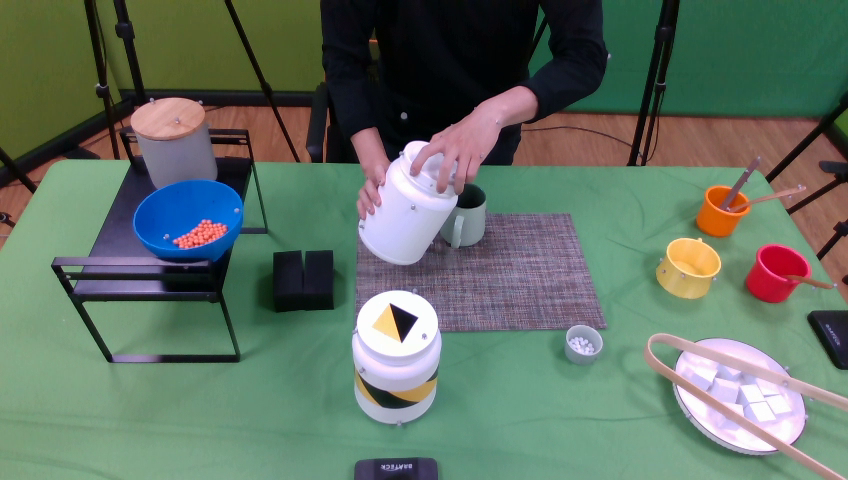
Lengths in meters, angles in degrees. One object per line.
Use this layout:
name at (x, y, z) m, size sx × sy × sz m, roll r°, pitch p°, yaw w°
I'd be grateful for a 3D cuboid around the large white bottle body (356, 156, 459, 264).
large white bottle body at (-0.024, -0.063, 1.044) m, size 0.131 × 0.185 × 0.130 m, roll 22°, pitch 36°, yaw -17°

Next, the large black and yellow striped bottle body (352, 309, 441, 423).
large black and yellow striped bottle body at (-0.042, 0.178, 0.913) m, size 0.131 × 0.185 × 0.130 m, roll 2°, pitch 46°, yaw -2°

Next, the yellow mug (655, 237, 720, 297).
yellow mug at (0.509, 0.041, 1.167) m, size 0.099 × 0.064 × 0.130 m, roll 24°, pitch 48°, yaw 18°

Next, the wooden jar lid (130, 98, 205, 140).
wooden jar lid at (-0.393, -0.183, 0.934) m, size 0.108 × 0.021 × 0.107 m, roll 3°, pitch 44°, yaw -2°

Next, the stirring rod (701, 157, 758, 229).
stirring rod at (0.634, -0.097, 1.257) m, size 0.014 × 0.006 × 0.176 m, roll 38°, pitch 97°, yaw 29°

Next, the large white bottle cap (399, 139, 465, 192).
large white bottle cap at (0.014, -0.123, 0.995) m, size 0.115 × 0.018 × 0.114 m, roll 22°, pitch 36°, yaw -17°

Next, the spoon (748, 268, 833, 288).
spoon at (0.660, 0.068, 1.097) m, size 0.041 × 0.193 × 0.021 m, roll -4°, pitch 91°, yaw -6°

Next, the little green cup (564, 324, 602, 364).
little green cup at (0.269, 0.180, 1.035) m, size 0.061 × 0.039 × 0.061 m, roll 2°, pitch 45°, yaw -2°

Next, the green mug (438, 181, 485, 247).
green mug at (0.071, -0.039, 1.177) m, size 0.092 × 0.105 × 0.124 m, roll 12°, pitch 47°, yaw 7°

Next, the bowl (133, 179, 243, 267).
bowl at (-0.339, -0.013, 0.895) m, size 0.151 × 0.077 × 0.150 m, roll 2°, pitch 46°, yaw -2°

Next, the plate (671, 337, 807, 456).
plate at (0.503, 0.254, 0.984) m, size 0.208 × 0.039 × 0.206 m, roll 2°, pitch 46°, yaw -2°

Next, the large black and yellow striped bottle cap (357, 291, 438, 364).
large black and yellow striped bottle cap at (-0.037, 0.121, 0.851) m, size 0.115 × 0.019 × 0.114 m, roll 1°, pitch 46°, yaw -1°

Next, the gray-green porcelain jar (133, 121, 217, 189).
gray-green porcelain jar at (-0.397, -0.141, 0.980) m, size 0.106 × 0.127 × 0.105 m, roll 2°, pitch 47°, yaw -2°

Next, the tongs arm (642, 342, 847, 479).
tongs arm at (0.504, 0.279, 0.918) m, size 0.386 × 0.028 × 0.028 m, roll 33°, pitch 59°, yaw 22°

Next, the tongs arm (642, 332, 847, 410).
tongs arm at (0.546, 0.227, 0.968) m, size 0.384 × 0.026 × 0.050 m, roll 22°, pitch 52°, yaw 13°

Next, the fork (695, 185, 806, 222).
fork at (0.658, -0.074, 1.229) m, size 0.207 × 0.019 × 0.028 m, roll -23°, pitch 36°, yaw 37°
